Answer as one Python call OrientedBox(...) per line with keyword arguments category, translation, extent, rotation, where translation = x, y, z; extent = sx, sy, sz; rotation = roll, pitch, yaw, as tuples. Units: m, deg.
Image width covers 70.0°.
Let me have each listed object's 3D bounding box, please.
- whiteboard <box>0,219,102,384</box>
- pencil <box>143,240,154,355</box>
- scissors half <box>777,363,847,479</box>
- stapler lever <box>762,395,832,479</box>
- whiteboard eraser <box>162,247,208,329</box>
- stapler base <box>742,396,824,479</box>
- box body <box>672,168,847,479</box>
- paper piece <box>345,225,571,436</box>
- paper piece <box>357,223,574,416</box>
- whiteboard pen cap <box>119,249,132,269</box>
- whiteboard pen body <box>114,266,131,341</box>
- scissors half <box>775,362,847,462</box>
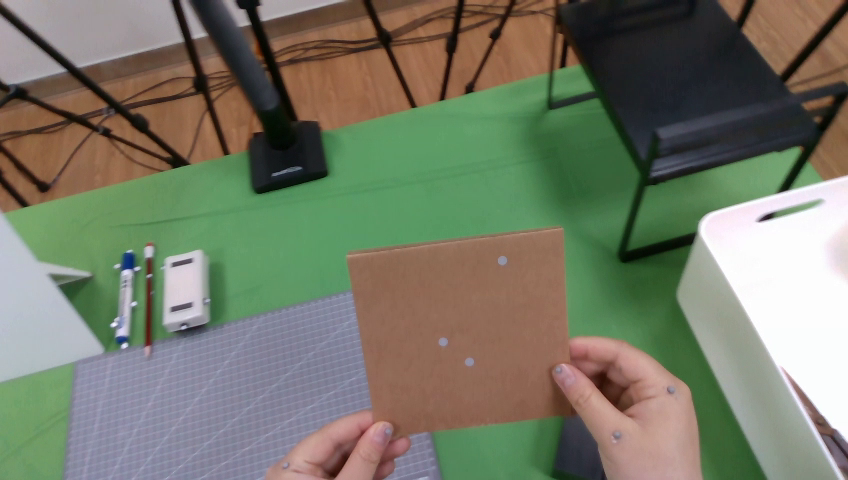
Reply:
OrientedBox(category="whiteboard", translation=(-0.580, 0.027, 0.780), extent=(0.217, 0.308, 0.142), rotation=(-15, 38, -1))
OrientedBox(category="pencil", translation=(-0.391, 0.078, 0.861), extent=(0.012, 0.012, 0.192), rotation=(-17, 58, -3))
OrientedBox(category="scissors half", translation=(0.426, 0.208, 0.661), extent=(0.040, 0.013, 0.173), rotation=(-8, 52, 2))
OrientedBox(category="stapler lever", translation=(0.390, 0.218, 0.624), extent=(0.027, 0.040, 0.117), rotation=(-19, 62, 0))
OrientedBox(category="whiteboard eraser", translation=(-0.332, 0.067, 0.842), extent=(0.055, 0.042, 0.111), rotation=(-16, 58, -1))
OrientedBox(category="stapler base", translation=(0.392, 0.229, 0.647), extent=(0.041, 0.024, 0.129), rotation=(-19, 61, 0))
OrientedBox(category="box body", translation=(0.454, 0.123, 0.628), extent=(0.254, 0.162, 0.360), rotation=(-15, 57, -2))
OrientedBox(category="paper piece", translation=(0.027, 0.062, 0.389), extent=(0.135, 0.136, 0.004), rotation=(-7, 20, -1))
OrientedBox(category="paper piece", translation=(0.027, 0.057, 0.406), extent=(0.135, 0.139, 0.008), rotation=(-4, 16, 18))
OrientedBox(category="whiteboard pen cap", translation=(-0.439, 0.031, 0.892), extent=(0.018, 0.018, 0.033), rotation=(-16, 56, -2))
OrientedBox(category="whiteboard pen body", translation=(-0.428, 0.079, 0.862), extent=(0.017, 0.017, 0.139), rotation=(-14, 57, -1))
OrientedBox(category="scissors half", translation=(0.446, 0.203, 0.663), extent=(0.040, 0.013, 0.173), rotation=(-22, 54, -16))
